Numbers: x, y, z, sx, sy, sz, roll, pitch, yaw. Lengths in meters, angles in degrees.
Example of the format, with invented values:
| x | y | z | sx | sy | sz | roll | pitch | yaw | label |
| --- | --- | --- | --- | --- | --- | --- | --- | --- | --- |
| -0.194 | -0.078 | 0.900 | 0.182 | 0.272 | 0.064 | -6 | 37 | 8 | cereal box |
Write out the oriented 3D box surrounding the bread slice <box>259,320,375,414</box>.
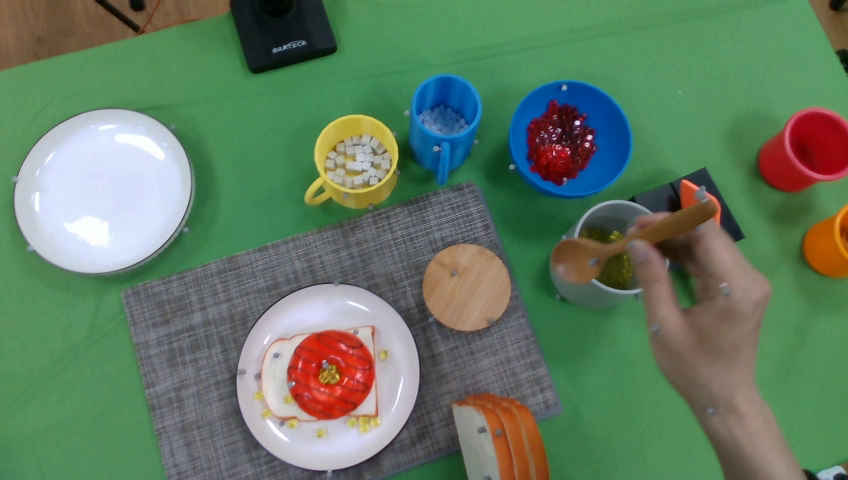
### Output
| x | y | z | sx | sy | sz | roll | pitch | yaw | label |
| --- | --- | --- | --- | --- | --- | --- | --- | --- | --- |
| -0.123 | 0.150 | 0.700 | 0.132 | 0.019 | 0.104 | -4 | 76 | -8 | bread slice |

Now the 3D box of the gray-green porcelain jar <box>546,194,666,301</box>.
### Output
| x | y | z | sx | sy | sz | roll | pitch | yaw | label |
| --- | --- | --- | --- | --- | --- | --- | --- | --- | --- |
| 0.205 | 0.015 | 0.709 | 0.106 | 0.127 | 0.105 | 1 | 76 | -4 | gray-green porcelain jar |

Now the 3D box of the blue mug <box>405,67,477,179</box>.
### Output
| x | y | z | sx | sy | sz | roll | pitch | yaw | label |
| --- | --- | --- | --- | --- | --- | --- | --- | --- | --- |
| 0.018 | -0.133 | 0.741 | 0.082 | 0.106 | 0.116 | 2 | 77 | -3 | blue mug |

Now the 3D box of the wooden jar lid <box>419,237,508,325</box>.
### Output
| x | y | z | sx | sy | sz | roll | pitch | yaw | label |
| --- | --- | --- | --- | --- | --- | --- | --- | --- | --- |
| 0.048 | 0.051 | 0.741 | 0.108 | 0.021 | 0.108 | 1 | 78 | -4 | wooden jar lid |

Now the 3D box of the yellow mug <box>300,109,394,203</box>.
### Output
| x | y | z | sx | sy | sz | roll | pitch | yaw | label |
| --- | --- | --- | --- | --- | --- | --- | --- | --- | --- |
| -0.098 | -0.093 | 0.744 | 0.131 | 0.064 | 0.099 | -40 | 82 | -10 | yellow mug |

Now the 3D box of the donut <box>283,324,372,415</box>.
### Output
| x | y | z | sx | sy | sz | roll | pitch | yaw | label |
| --- | --- | --- | --- | --- | --- | --- | --- | --- | --- |
| -0.106 | 0.142 | 0.670 | 0.099 | 0.048 | 0.098 | 1 | 78 | -7 | donut |

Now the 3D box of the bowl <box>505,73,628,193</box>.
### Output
| x | y | z | sx | sy | sz | roll | pitch | yaw | label |
| --- | --- | --- | --- | --- | --- | --- | --- | --- | --- |
| 0.170 | -0.123 | 0.763 | 0.151 | 0.077 | 0.150 | 1 | 77 | -3 | bowl |

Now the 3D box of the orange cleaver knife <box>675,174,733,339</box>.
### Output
| x | y | z | sx | sy | sz | roll | pitch | yaw | label |
| --- | --- | --- | --- | --- | --- | --- | --- | --- | --- |
| 0.340 | 0.021 | 0.739 | 0.012 | 0.076 | 0.212 | -21 | 109 | -7 | orange cleaver knife |

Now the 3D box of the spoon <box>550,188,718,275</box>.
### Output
| x | y | z | sx | sy | sz | roll | pitch | yaw | label |
| --- | --- | --- | --- | --- | --- | --- | --- | --- | --- |
| 0.140 | -0.002 | 0.431 | 0.021 | 0.194 | 0.041 | -35 | 89 | -15 | spoon |

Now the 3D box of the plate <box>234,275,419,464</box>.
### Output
| x | y | z | sx | sy | sz | roll | pitch | yaw | label |
| --- | --- | --- | --- | --- | --- | --- | --- | --- | --- |
| -0.110 | 0.146 | 0.698 | 0.209 | 0.038 | 0.208 | 1 | 77 | -3 | plate |

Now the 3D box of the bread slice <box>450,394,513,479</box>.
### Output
| x | y | z | sx | sy | sz | roll | pitch | yaw | label |
| --- | --- | --- | --- | --- | --- | --- | --- | --- | --- |
| 0.061 | 0.215 | 0.649 | 0.018 | 0.134 | 0.106 | -10 | 75 | -14 | bread slice |

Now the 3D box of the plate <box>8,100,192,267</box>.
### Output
| x | y | z | sx | sy | sz | roll | pitch | yaw | label |
| --- | --- | --- | --- | --- | --- | --- | --- | --- | --- |
| -0.384 | -0.067 | 0.733 | 0.208 | 0.039 | 0.206 | 1 | 77 | -4 | plate |

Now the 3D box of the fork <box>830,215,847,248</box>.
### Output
| x | y | z | sx | sy | sz | roll | pitch | yaw | label |
| --- | --- | --- | --- | --- | --- | --- | --- | --- | --- |
| 0.505 | 0.018 | 0.716 | 0.028 | 0.018 | 0.207 | 44 | 34 | 0 | fork |
